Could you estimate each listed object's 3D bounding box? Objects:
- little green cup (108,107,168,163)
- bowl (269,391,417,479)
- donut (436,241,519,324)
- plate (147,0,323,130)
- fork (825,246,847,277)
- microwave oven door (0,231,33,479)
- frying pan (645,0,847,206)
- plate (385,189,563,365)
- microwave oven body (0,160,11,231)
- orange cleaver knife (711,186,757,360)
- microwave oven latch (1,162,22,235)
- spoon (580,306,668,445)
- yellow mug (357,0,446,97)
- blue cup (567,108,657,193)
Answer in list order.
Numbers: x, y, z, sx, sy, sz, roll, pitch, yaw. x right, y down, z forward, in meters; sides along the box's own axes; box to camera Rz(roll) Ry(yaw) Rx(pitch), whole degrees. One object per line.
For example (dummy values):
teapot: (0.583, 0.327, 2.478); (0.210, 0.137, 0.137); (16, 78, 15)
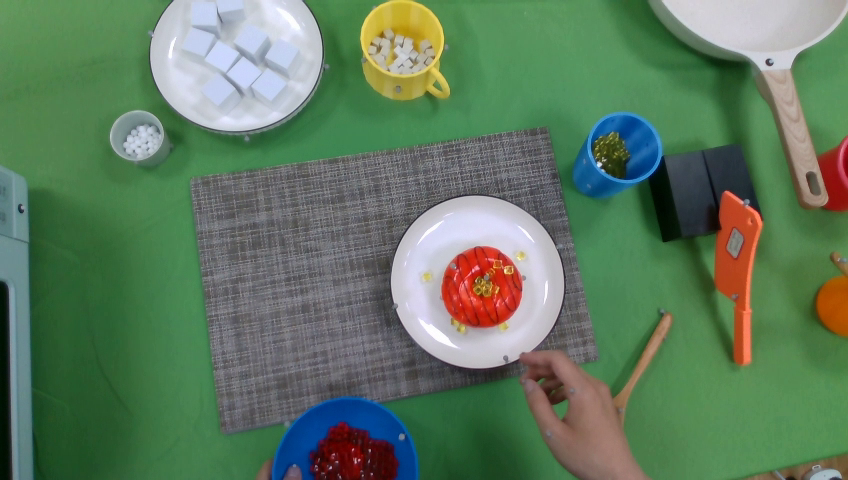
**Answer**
little green cup: (-0.337, -0.122, 0.719); (0.061, 0.039, 0.061); (1, 81, -5)
bowl: (-0.086, 0.239, 0.662); (0.151, 0.077, 0.151); (1, 81, -5)
donut: (0.063, 0.050, 0.709); (0.099, 0.048, 0.099); (0, 84, -4)
plate: (-0.228, -0.232, 0.748); (0.208, 0.039, 0.207); (1, 81, -4)
fork: (0.493, 0.048, 0.701); (0.209, 0.018, 0.028); (30, 76, -43)
microwave oven door: (-0.439, 0.152, 0.546); (0.039, 0.244, 0.354); (-7, 81, -5)
frying pan: (0.421, -0.273, 0.772); (0.307, 0.103, 0.484); (-4, 73, -4)
plate: (0.058, 0.044, 0.721); (0.209, 0.038, 0.208); (1, 81, -4)
microwave oven body: (-0.589, 0.127, 0.543); (0.326, 0.260, 0.440); (-6, 82, -6)
orange cleaver knife: (0.368, 0.042, 0.727); (0.012, 0.076, 0.212); (-10, 110, -6)
microwave oven latch: (-0.471, -0.046, 0.679); (0.030, 0.029, 0.079); (-5, 82, -6)
spoon: (0.247, 0.160, 0.728); (0.041, 0.022, 0.193); (31, 79, 19)
yellow mug: (-0.021, -0.227, 0.749); (0.131, 0.064, 0.100); (43, 80, 2)
blue cup: (0.217, -0.099, 0.728); (0.093, 0.100, 0.092); (1, 79, -5)
